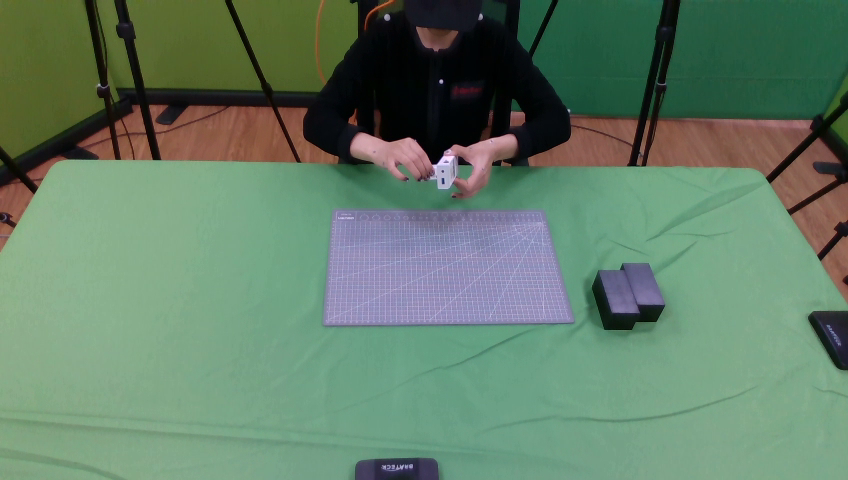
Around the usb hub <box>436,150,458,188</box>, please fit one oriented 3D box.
[{"bbox_3d":[0.047,-0.141,1.191,0.025,0.049,0.125,1,21,11],"label":"usb hub"}]

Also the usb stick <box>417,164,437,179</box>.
[{"bbox_3d":[0.016,-0.135,1.191,0.059,0.027,0.021,2,21,7],"label":"usb stick"}]
